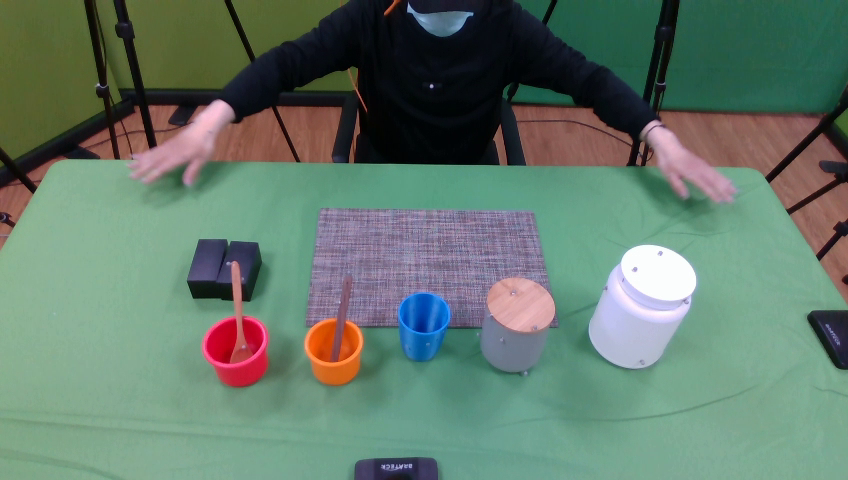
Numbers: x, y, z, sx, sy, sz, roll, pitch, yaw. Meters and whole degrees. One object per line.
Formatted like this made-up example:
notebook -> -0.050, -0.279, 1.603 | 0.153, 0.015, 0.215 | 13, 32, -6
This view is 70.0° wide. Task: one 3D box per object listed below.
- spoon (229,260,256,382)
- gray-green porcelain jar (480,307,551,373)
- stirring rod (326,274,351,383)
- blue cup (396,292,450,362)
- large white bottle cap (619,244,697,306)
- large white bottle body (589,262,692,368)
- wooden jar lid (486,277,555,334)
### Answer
spoon -> -0.294, 0.129, 0.966 | 0.042, 0.021, 0.193 | -4, 91, -9
gray-green porcelain jar -> 0.148, 0.148, 0.992 | 0.106, 0.127, 0.105 | 2, 46, -2
stirring rod -> -0.137, 0.142, 0.971 | 0.014, 0.006, 0.176 | 9, 89, 0
blue cup -> -0.005, 0.149, 0.997 | 0.093, 0.101, 0.092 | 3, 47, -3
large white bottle cap -> 0.363, 0.052, 0.939 | 0.115, 0.018, 0.114 | 2, 46, -2
large white bottle body -> 0.358, 0.110, 1.000 | 0.131, 0.185, 0.130 | 2, 46, -2
wooden jar lid -> 0.150, 0.105, 0.948 | 0.108, 0.021, 0.107 | 3, 47, -3
